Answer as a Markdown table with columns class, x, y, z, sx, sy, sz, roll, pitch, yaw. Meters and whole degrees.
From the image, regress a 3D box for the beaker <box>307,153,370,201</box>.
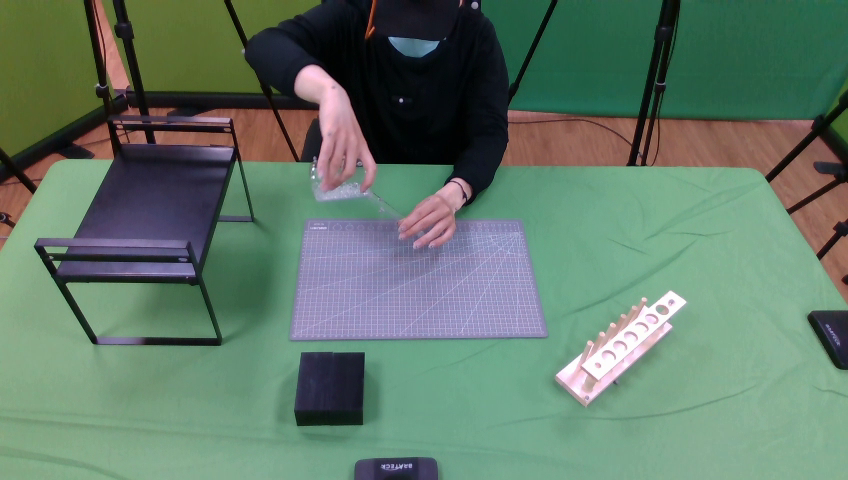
| class | x | y | z | sx | sy | sz | roll | pitch | yaw |
| --- | --- | --- | --- | --- | --- | --- | --- | --- | --- |
| beaker | -0.145 | -0.104 | 1.045 | 0.100 | 0.084 | 0.073 | -7 | 44 | -2 |

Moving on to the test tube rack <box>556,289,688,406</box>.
| class | x | y | z | sx | sy | sz | roll | pitch | yaw |
| --- | --- | --- | --- | --- | --- | --- | --- | --- | --- |
| test tube rack | 0.332 | 0.166 | 1.014 | 0.242 | 0.085 | 0.066 | -30 | 55 | -28 |

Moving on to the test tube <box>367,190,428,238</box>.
| class | x | y | z | sx | sy | sz | roll | pitch | yaw |
| --- | --- | --- | --- | --- | --- | --- | --- | --- | --- |
| test tube | -0.047 | -0.045 | 1.112 | 0.151 | 0.017 | 0.017 | 36 | 36 | -32 |
